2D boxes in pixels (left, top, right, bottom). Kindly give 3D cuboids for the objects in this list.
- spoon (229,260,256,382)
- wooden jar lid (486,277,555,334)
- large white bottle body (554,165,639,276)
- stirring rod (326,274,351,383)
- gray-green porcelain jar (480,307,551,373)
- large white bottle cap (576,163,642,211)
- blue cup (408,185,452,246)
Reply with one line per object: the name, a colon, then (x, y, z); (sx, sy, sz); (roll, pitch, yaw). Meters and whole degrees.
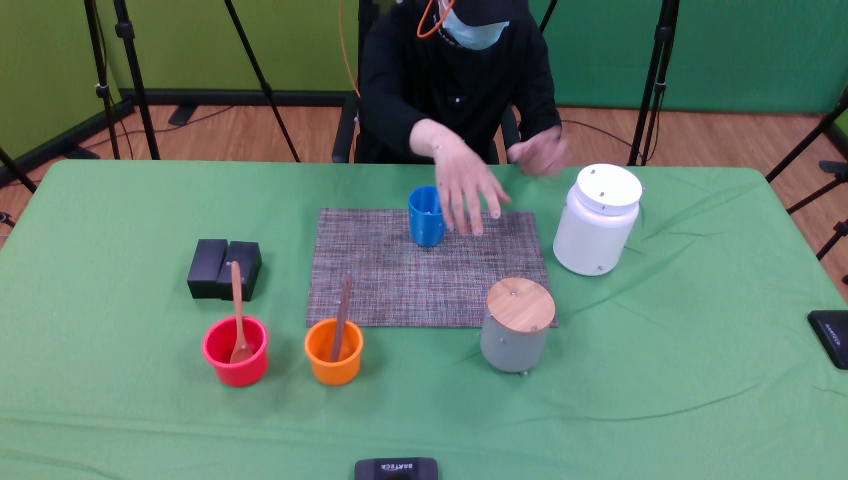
spoon: (-0.295, 0.129, 0.966); (0.042, 0.021, 0.193); (-4, 90, -9)
wooden jar lid: (0.150, 0.105, 0.948); (0.108, 0.021, 0.107); (3, 47, -3)
large white bottle body: (0.326, -0.037, 1.141); (0.131, 0.185, 0.130); (2, 46, -2)
stirring rod: (-0.137, 0.142, 0.971); (0.014, 0.006, 0.176); (9, 89, 1)
gray-green porcelain jar: (0.148, 0.148, 0.992); (0.106, 0.127, 0.105); (2, 46, -2)
large white bottle cap: (0.330, -0.096, 1.080); (0.115, 0.018, 0.114); (2, 46, -2)
blue cup: (0.008, -0.042, 1.177); (0.093, 0.101, 0.092); (3, 47, -3)
